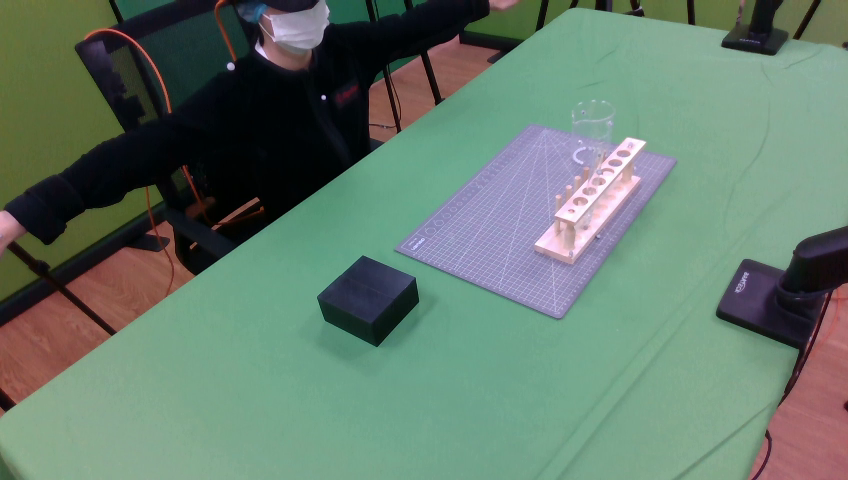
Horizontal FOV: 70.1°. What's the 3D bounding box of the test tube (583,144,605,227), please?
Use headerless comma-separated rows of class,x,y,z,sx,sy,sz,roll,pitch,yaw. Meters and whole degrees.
test tube,0.251,-0.077,0.896,0.017,0.151,0.017,-2,43,3

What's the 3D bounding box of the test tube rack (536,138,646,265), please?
test tube rack,0.268,-0.071,0.964,0.066,0.085,0.243,23,49,32

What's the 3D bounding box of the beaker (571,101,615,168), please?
beaker,0.299,-0.186,1.086,0.084,0.101,0.073,-28,43,-21
